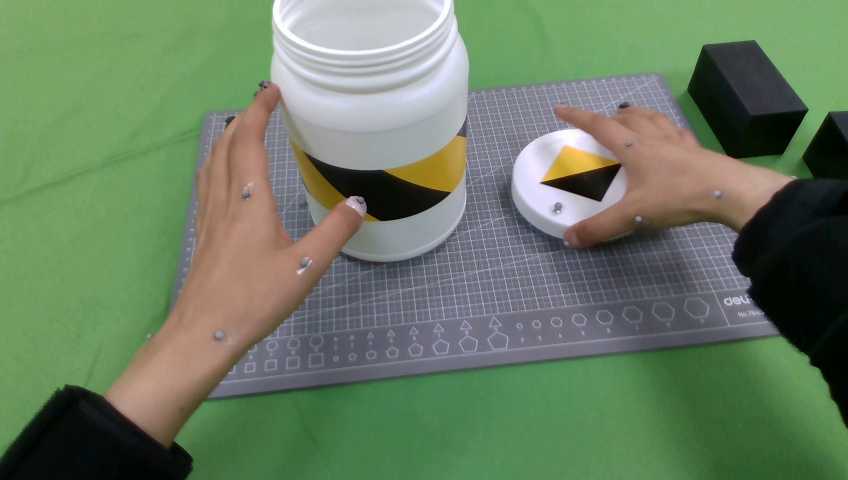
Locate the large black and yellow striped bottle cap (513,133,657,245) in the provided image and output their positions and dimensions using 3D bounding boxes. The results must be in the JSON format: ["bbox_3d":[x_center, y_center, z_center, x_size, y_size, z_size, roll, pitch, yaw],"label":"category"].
[{"bbox_3d":[0.131,-0.045,0.497,0.115,0.019,0.114,-1,50,2],"label":"large black and yellow striped bottle cap"}]

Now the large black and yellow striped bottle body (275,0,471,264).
[{"bbox_3d":[-0.032,-0.085,0.437,0.131,0.185,0.129,-1,52,2],"label":"large black and yellow striped bottle body"}]
